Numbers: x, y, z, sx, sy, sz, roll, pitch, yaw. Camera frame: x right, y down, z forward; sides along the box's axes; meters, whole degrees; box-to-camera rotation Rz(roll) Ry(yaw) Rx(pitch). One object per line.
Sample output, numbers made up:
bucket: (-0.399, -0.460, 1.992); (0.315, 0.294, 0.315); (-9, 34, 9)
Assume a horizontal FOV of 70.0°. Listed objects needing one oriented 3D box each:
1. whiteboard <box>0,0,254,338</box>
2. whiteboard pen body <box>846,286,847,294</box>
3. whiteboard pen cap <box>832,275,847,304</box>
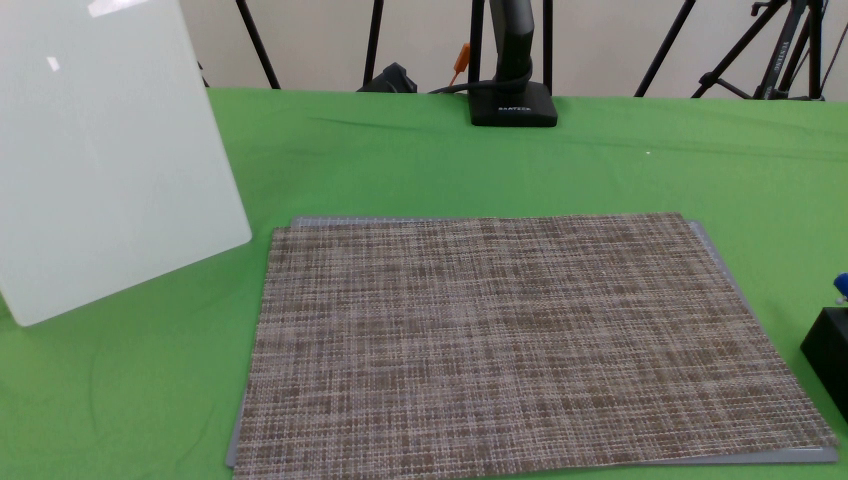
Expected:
whiteboard: (-0.327, -0.107, 0.569); (0.217, 0.307, 0.142); (-24, 26, -28)
whiteboard pen body: (0.363, 0.083, 0.462); (0.017, 0.017, 0.139); (-1, 39, -2)
whiteboard pen cap: (0.361, 0.045, 0.509); (0.018, 0.018, 0.033); (0, 37, -2)
